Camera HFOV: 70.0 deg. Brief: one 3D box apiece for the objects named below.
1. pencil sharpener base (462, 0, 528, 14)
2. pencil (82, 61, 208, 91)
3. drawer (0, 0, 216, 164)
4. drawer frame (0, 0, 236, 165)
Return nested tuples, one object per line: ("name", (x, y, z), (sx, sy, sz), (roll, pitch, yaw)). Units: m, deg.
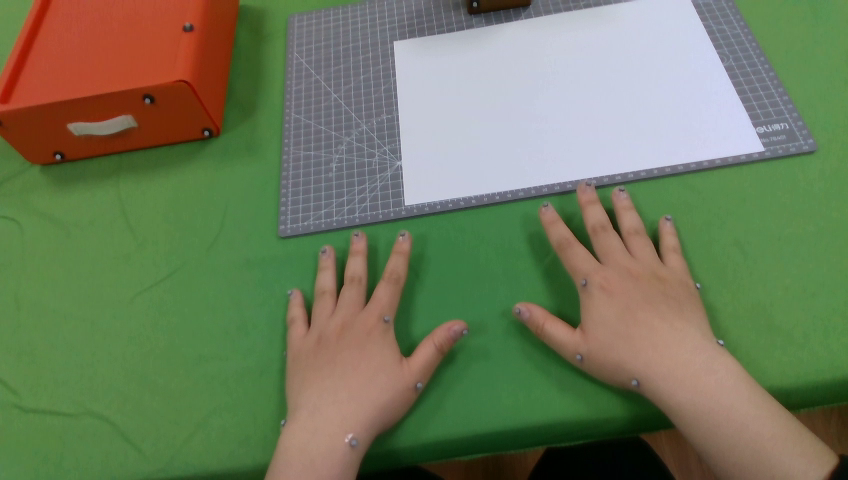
("pencil sharpener base", (0.062, -0.288, 0.600), (0.076, 0.108, 0.061), (-7, 58, 6))
("pencil", (-0.302, -0.177, 0.644), (0.193, 0.012, 0.012), (16, 62, 24))
("drawer", (-0.307, -0.188, 0.618), (0.194, 0.074, 0.209), (-8, 56, 5))
("drawer frame", (-0.308, -0.191, 0.617), (0.201, 0.083, 0.211), (-9, 57, 4))
